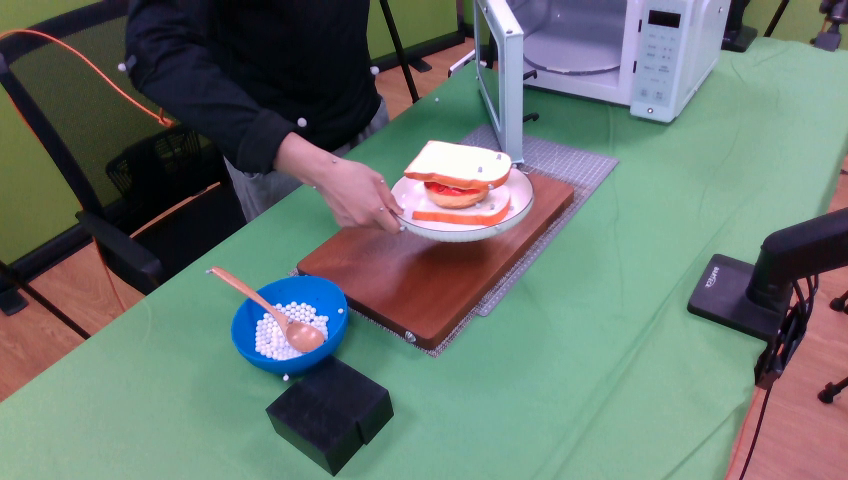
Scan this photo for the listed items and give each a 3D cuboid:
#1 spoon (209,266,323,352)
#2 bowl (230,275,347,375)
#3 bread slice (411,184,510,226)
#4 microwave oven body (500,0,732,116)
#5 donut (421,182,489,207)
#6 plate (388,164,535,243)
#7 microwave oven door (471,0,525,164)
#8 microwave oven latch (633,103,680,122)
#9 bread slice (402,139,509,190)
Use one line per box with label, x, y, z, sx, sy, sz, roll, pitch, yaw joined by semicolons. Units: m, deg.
spoon;-0.214;0.087;0.806;0.193;0.021;0.042;36;55;12
bowl;-0.171;0.125;0.802;0.151;0.077;0.150;-4;40;4
bread slice;0.058;-0.057;0.871;0.131;0.019;0.105;6;38;20
microwave oven body;0.377;-0.463;1.267;0.438;0.261;0.327;21;49;30
donut;0.046;-0.080;0.852;0.099;0.048;0.098;-2;32;2
plate;0.053;-0.055;0.864;0.207;0.039;0.206;-4;35;3
microwave oven door;0.136;-0.342;1.153;0.039;0.245;0.353;-8;40;-1
microwave oven latch;0.443;-0.249;1.158;0.078;0.029;0.030;21;49;30
bread slice;0.049;-0.103;0.833;0.134;0.018;0.107;10;36;13
